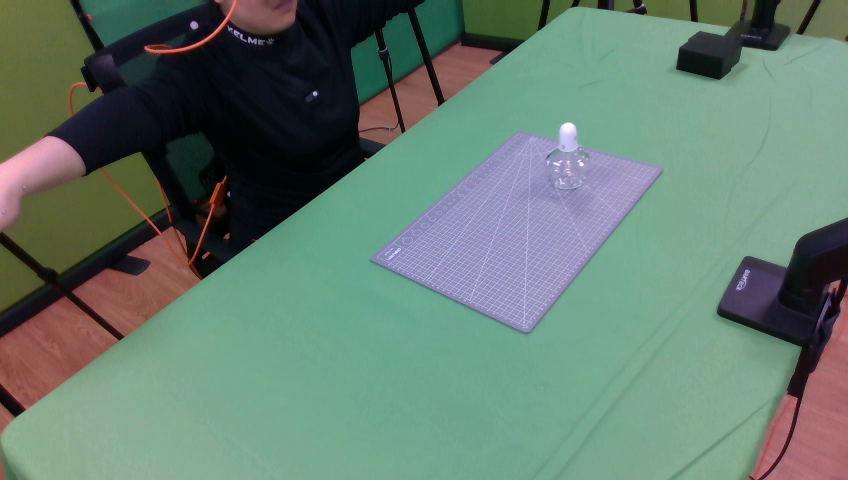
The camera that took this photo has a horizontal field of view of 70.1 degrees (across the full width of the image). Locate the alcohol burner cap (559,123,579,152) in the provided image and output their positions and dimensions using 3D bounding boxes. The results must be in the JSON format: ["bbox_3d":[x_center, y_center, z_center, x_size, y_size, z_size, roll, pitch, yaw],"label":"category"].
[{"bbox_3d":[0.241,-0.173,1.010,0.034,0.048,0.033,-8,44,8],"label":"alcohol burner cap"}]

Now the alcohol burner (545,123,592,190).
[{"bbox_3d":[0.247,-0.147,1.034,0.078,0.120,0.077,-7,41,6],"label":"alcohol burner"}]
